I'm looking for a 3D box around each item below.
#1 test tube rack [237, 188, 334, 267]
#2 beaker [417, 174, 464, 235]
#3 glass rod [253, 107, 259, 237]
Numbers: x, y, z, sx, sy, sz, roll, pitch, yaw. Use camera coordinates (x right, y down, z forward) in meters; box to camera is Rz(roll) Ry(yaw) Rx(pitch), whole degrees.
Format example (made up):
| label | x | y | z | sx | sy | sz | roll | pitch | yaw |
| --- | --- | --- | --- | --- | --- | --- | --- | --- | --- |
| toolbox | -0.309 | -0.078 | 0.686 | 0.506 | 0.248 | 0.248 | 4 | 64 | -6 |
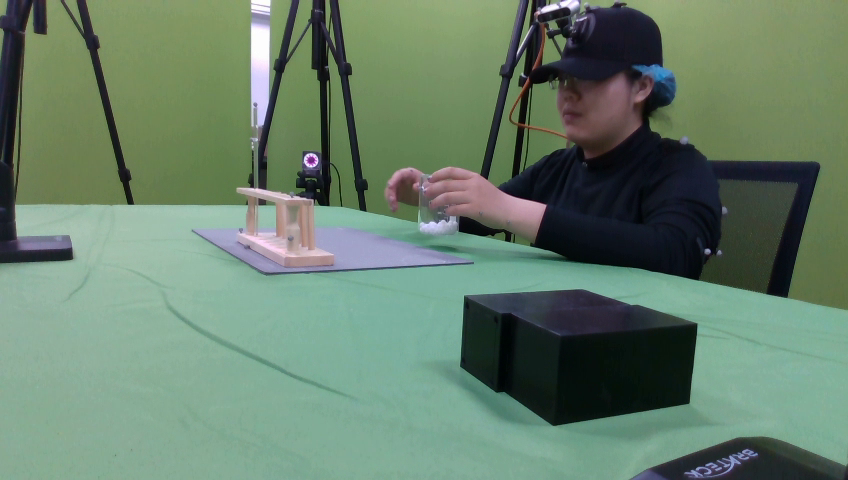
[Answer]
| label | x | y | z | sx | sy | sz | roll | pitch | yaw |
| --- | --- | --- | --- | --- | --- | --- | --- | --- | --- |
| test tube rack | -0.202 | -0.024 | 0.855 | 0.067 | 0.085 | 0.241 | -2 | 8 | -30 |
| beaker | 0.029 | -0.059 | 1.007 | 0.083 | 0.100 | 0.074 | 7 | 7 | 38 |
| glass rod | -0.253 | -0.101 | 0.912 | 0.008 | 0.199 | 0.008 | 1 | 3 | 0 |
